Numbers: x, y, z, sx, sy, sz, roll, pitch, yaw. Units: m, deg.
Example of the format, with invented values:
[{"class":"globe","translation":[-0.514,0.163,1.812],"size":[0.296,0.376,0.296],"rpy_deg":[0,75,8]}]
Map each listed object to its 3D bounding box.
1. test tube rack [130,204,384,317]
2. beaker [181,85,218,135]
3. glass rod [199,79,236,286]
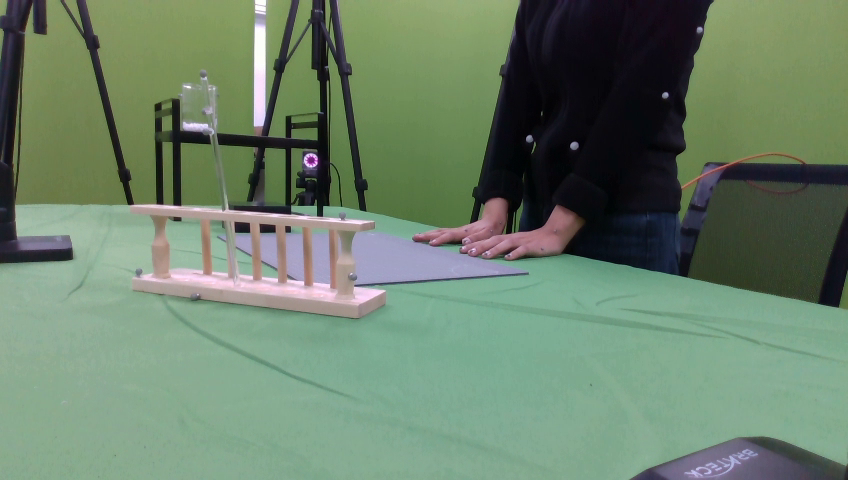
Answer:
[{"class":"test tube rack","translation":[-0.162,0.013,0.589],"size":[0.242,0.085,0.067],"rpy_deg":[5,8,17]},{"class":"beaker","translation":[-0.476,-0.276,1.290],"size":[0.074,0.100,0.083],"rpy_deg":[-4,10,-36]},{"class":"glass rod","translation":[-0.194,-0.050,0.569],"size":[0.008,0.199,0.008],"rpy_deg":[-6,7,1]}]
